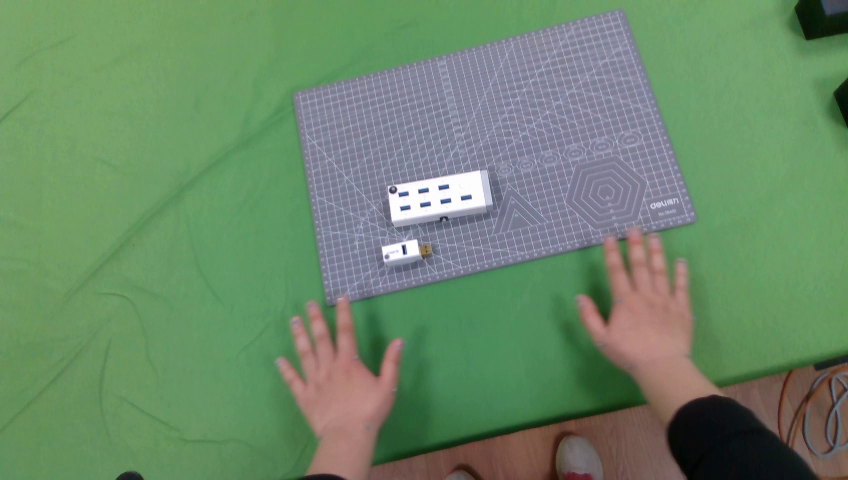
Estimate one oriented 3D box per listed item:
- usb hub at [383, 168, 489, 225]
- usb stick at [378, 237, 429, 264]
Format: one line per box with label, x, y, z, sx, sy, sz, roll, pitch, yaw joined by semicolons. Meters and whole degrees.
usb hub;0.014;-0.054;0.740;0.125;0.025;0.049;-9;73;4
usb stick;-0.024;0.012;0.726;0.059;0.027;0.021;-11;73;2
